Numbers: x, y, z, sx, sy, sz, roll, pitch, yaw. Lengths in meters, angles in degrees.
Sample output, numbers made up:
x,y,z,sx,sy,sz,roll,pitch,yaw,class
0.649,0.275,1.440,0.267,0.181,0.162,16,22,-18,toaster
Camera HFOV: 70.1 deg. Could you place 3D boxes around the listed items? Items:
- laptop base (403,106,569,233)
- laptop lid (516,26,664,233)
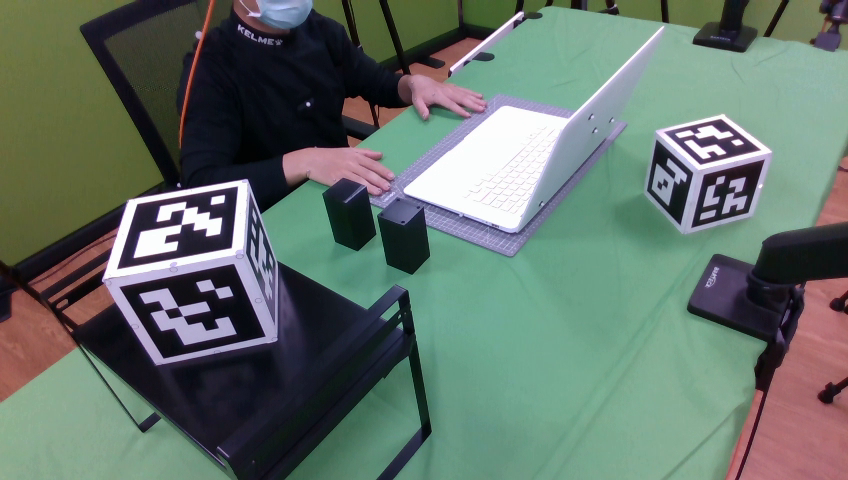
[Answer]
x,y,z,sx,sy,sz,roll,pitch,yaw,class
0.156,-0.144,1.116,0.233,0.023,0.355,20,47,32,laptop base
0.268,-0.178,0.966,0.013,0.242,0.357,35,52,16,laptop lid
